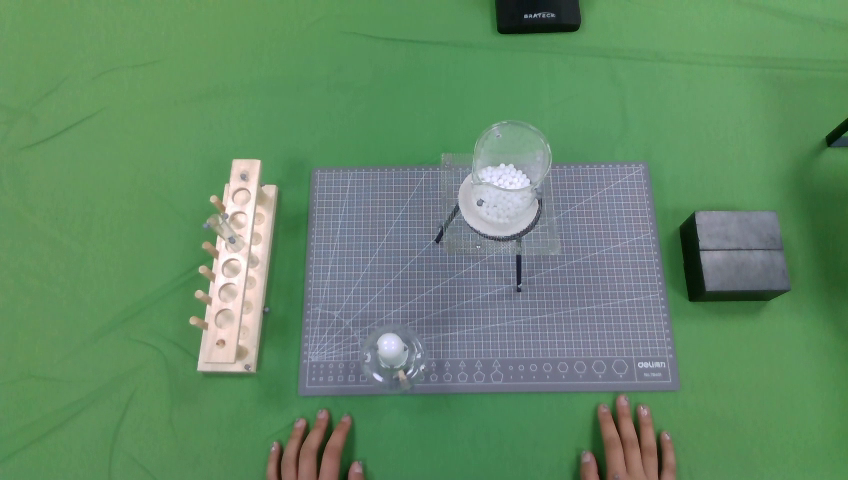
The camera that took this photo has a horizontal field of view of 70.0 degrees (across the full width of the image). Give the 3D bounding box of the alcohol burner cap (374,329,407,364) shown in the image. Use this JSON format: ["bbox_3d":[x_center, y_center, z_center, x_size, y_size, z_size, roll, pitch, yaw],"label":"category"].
[{"bbox_3d":[-0.037,0.111,0.640,0.034,0.048,0.033,-2,67,5],"label":"alcohol burner cap"}]

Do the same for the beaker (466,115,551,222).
[{"bbox_3d":[0.078,-0.064,0.606,0.084,0.101,0.073,-33,74,-11],"label":"beaker"}]

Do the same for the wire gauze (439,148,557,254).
[{"bbox_3d":[0.078,-0.044,0.650,0.125,0.011,0.120,1,72,-2],"label":"wire gauze"}]

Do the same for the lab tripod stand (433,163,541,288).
[{"bbox_3d":[0.083,-0.026,0.714,0.148,0.132,0.147,0,69,1],"label":"lab tripod stand"}]

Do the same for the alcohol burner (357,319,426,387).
[{"bbox_3d":[-0.037,0.123,0.674,0.078,0.120,0.077,0,70,-1],"label":"alcohol burner"}]

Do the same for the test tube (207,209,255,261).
[{"bbox_3d":[-0.215,-0.002,0.684,0.017,0.151,0.017,1,72,-2],"label":"test tube"}]

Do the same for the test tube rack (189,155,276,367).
[{"bbox_3d":[-0.234,0.025,0.727,0.067,0.085,0.241,1,71,1],"label":"test tube rack"}]
